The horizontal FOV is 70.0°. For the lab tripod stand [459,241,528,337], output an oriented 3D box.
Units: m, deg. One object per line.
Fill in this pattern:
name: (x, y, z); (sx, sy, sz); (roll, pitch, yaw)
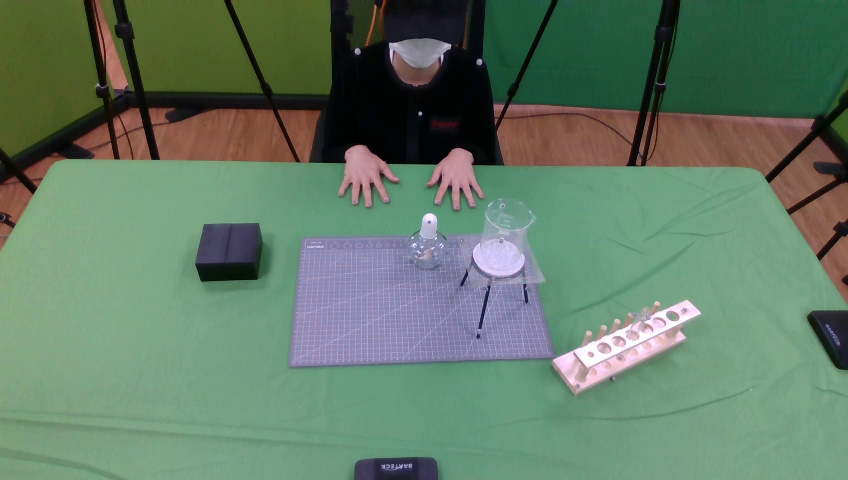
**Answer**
lab tripod stand: (0.122, 0.075, 1.054); (0.148, 0.132, 0.147); (3, 44, -3)

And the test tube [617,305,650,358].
test tube: (0.333, 0.149, 0.967); (0.017, 0.151, 0.017); (0, 52, 1)

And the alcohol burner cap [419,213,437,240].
alcohol burner cap: (0.009, -0.027, 1.109); (0.034, 0.048, 0.033); (3, 44, -3)

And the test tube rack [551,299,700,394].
test tube rack: (0.339, 0.166, 1.021); (0.242, 0.085, 0.066); (-19, 50, -21)

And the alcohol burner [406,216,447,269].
alcohol burner: (0.006, -0.002, 1.134); (0.078, 0.120, 0.077); (2, 48, -2)

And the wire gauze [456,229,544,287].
wire gauze: (0.125, 0.030, 1.008); (0.125, 0.011, 0.120); (-2, 48, -11)

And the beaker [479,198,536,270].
beaker: (0.131, -0.007, 0.975); (0.084, 0.101, 0.073); (3, 46, -3)
